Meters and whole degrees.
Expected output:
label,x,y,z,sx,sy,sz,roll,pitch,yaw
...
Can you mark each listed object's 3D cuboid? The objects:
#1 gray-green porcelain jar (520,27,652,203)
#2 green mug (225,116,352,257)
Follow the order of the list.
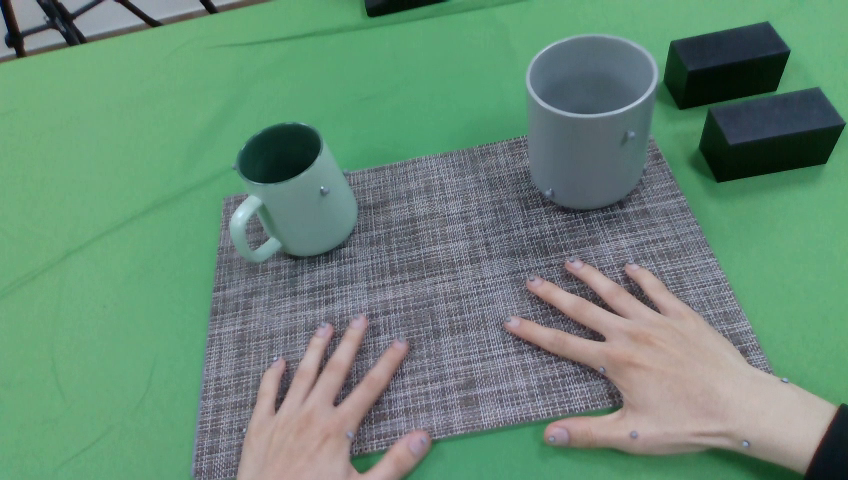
label,x,y,z,sx,sy,sz,roll,pitch,yaw
gray-green porcelain jar,0.141,-0.104,0.539,0.106,0.128,0.105,-6,53,8
green mug,-0.130,-0.038,0.558,0.092,0.106,0.125,23,62,25
